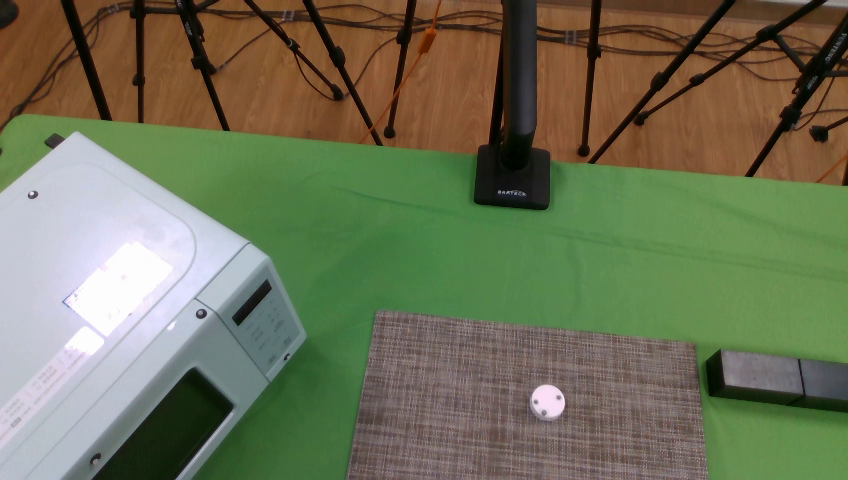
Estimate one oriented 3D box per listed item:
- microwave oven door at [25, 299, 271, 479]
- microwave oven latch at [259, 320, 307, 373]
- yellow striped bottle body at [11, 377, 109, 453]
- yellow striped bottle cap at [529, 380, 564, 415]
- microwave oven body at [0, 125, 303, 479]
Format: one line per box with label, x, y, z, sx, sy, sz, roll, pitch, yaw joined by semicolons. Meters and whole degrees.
microwave oven door;-0.315;0.245;0.633;0.039;0.246;0.354;30;65;17
microwave oven latch;-0.190;0.137;0.809;0.030;0.030;0.079;32;66;16
yellow striped bottle body;-0.407;0.194;0.676;0.063;0.121;0.062;1;60;-2
yellow striped bottle cap;0.162;0.208;0.800;0.044;0.019;0.044;-1;60;2
microwave oven body;-0.413;0.146;0.693;0.324;0.262;0.440;31;66;15
